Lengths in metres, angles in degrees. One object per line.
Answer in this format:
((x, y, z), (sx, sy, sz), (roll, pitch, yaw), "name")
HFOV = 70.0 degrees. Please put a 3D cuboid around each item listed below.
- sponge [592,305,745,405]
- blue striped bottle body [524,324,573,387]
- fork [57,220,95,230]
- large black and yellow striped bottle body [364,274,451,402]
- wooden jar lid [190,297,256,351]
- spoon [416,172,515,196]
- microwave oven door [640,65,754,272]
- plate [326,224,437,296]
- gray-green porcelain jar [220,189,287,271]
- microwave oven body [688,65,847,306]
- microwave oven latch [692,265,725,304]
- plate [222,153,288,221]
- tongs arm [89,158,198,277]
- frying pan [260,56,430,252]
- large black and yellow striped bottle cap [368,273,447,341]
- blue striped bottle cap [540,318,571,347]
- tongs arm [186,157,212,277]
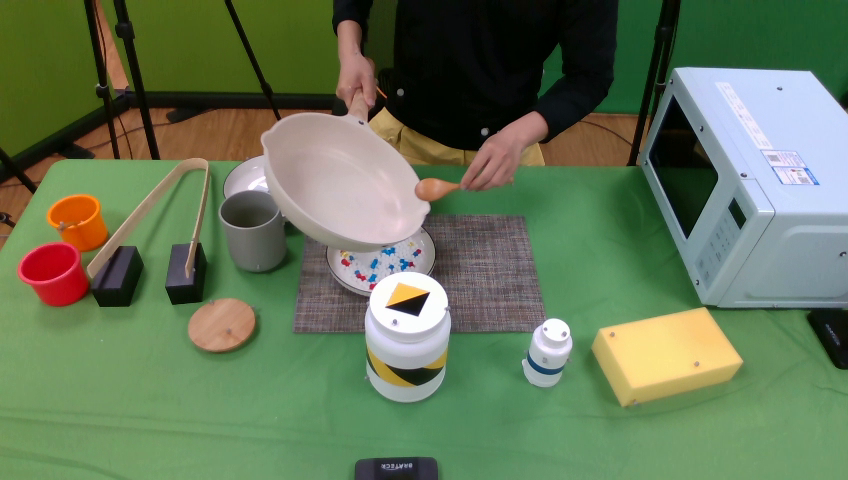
((0.405, 0.190, 1.014), (0.207, 0.061, 0.117), (-10, 48, -12), "sponge")
((0.200, 0.178, 0.970), (0.063, 0.121, 0.062), (2, 46, -2), "blue striped bottle body")
((-0.624, -0.027, 1.086), (0.028, 0.207, 0.018), (-3, 92, -17), "fork")
((-0.026, 0.151, 0.937), (0.131, 0.185, 0.130), (2, 47, -2), "large black and yellow striped bottle body")
((-0.342, 0.145, 1.033), (0.108, 0.021, 0.107), (2, 45, -2), "wooden jar lid")
((0.076, -0.103, 1.054), (0.194, 0.021, 0.041), (-7, 75, -29), "spoon")
((0.524, -0.148, 1.193), (0.039, 0.245, 0.353), (0, 47, -3), "microwave oven door")
((-0.080, 0.030, 1.143), (0.209, 0.038, 0.208), (2, 46, -2), "plate")
((-0.309, -0.014, 1.113), (0.106, 0.127, 0.105), (2, 46, -2), "gray-green porcelain jar")
((0.669, -0.111, 1.176), (0.326, 0.261, 0.439), (0, 46, -3), "microwave oven body")
((0.522, 0.081, 1.116), (0.030, 0.029, 0.078), (1, 46, -2), "microwave oven latch")
((-0.310, -0.106, 1.263), (0.208, 0.039, 0.206), (2, 47, -2), "plate")
((-0.529, -0.058, 1.163), (0.028, 0.028, 0.385), (1, 36, 8), "tongs arm")
((-0.128, -0.176, 1.091), (0.308, 0.103, 0.485), (23, 50, -20), "frying pan")
((-0.023, 0.094, 0.875), (0.115, 0.019, 0.114), (2, 45, -2), "large black and yellow striped bottle cap")
((0.203, 0.142, 0.933), (0.044, 0.021, 0.044), (3, 49, -3), "blue striped bottle cap")
((-0.445, -0.058, 1.168), (0.051, 0.026, 0.382), (-4, 37, -6), "tongs arm")
